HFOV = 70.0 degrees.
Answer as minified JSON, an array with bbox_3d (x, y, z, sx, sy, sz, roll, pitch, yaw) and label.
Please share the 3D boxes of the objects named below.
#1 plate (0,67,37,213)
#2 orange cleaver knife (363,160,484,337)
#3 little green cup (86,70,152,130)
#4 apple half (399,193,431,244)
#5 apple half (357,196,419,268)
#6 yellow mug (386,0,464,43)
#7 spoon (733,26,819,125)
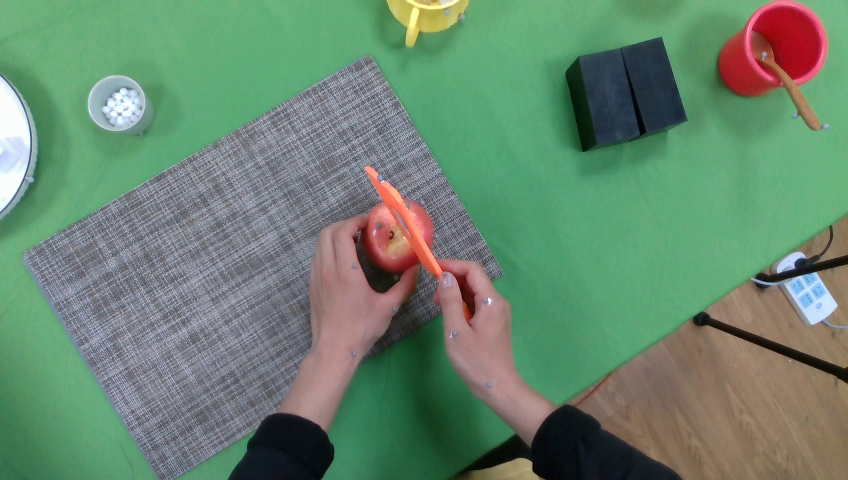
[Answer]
[{"bbox_3d":[-0.523,-0.107,0.654,0.208,0.039,0.207,0,88,-4],"label":"plate"},{"bbox_3d":[0.001,0.012,0.601,0.012,0.076,0.213,-36,118,-8],"label":"orange cleaver knife"},{"bbox_3d":[-0.334,-0.152,0.670,0.061,0.038,0.061,0,88,-4],"label":"little green cup"},{"bbox_3d":[-0.011,-0.023,0.667,0.033,0.081,0.081,-28,89,-1],"label":"apple half"},{"bbox_3d":[-0.045,-0.004,0.664,0.053,0.074,0.081,-27,97,0],"label":"apple half"},{"bbox_3d":[-0.002,-0.287,0.685,0.100,0.064,0.130,17,88,-4],"label":"yellow mug"},{"bbox_3d":[0.390,-0.187,0.672,0.041,0.022,0.192,3,43,-3],"label":"spoon"}]
